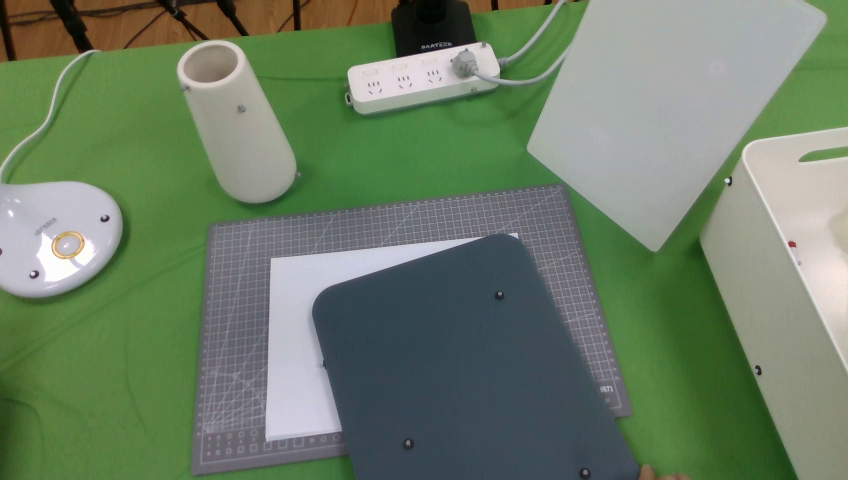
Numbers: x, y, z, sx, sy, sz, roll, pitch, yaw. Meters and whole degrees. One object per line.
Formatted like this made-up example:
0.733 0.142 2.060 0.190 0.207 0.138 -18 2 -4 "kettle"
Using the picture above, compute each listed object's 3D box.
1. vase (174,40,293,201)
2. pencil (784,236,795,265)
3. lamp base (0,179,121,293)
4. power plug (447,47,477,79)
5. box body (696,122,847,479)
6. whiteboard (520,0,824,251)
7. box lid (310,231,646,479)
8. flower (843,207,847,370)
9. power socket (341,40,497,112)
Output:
-0.219 -0.132 0.703 0.098 0.202 0.097 -1 59 3 "vase"
0.408 0.081 0.667 0.012 0.012 0.192 9 63 8 "pencil"
-0.465 -0.051 0.673 0.178 0.182 0.160 22 62 17 "lamp base"
0.050 -0.229 0.821 0.035 0.053 0.072 -3 61 0 "power plug"
0.456 0.074 0.586 0.254 0.162 0.360 -8 60 -3 "box body"
0.281 -0.181 0.692 0.144 0.307 0.215 -27 60 -35 "whiteboard"
0.046 0.165 0.626 0.263 0.015 0.367 -17 60 -9 "box lid"
0.451 0.104 0.637 0.044 0.038 0.360 4 57 39 "flower"
-0.005 -0.231 0.851 0.227 0.033 0.071 -12 61 -6 "power socket"
